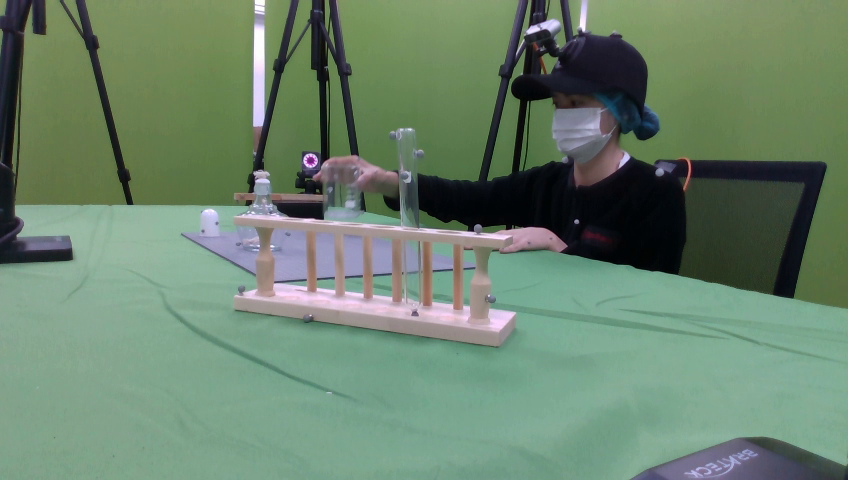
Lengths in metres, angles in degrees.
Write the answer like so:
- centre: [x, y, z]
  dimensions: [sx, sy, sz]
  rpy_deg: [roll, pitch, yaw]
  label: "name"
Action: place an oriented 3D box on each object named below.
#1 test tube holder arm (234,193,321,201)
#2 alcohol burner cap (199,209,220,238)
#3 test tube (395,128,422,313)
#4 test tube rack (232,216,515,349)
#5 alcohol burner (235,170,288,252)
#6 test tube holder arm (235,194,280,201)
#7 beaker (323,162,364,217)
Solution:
- centre: [-0.299, -0.088, 1.248]
  dimensions: [0.179, 0.015, 0.013]
  rpy_deg: [-1, 16, -30]
  label: "test tube holder arm"
- centre: [-0.356, -0.027, 1.002]
  dimensions: [0.034, 0.048, 0.034]
  rpy_deg: [2, 7, 0]
  label: "alcohol burner cap"
- centre: [-0.013, -0.015, 0.491]
  dimensions: [0.017, 0.150, 0.017]
  rpy_deg: [-2, 5, 1]
  label: "test tube"
- centre: [-0.045, 0.029, 0.526]
  dimensions: [0.241, 0.085, 0.067]
  rpy_deg: [5, 7, 19]
  label: "test tube rack"
- centre: [-0.236, -0.042, 0.882]
  dimensions: [0.078, 0.119, 0.078]
  rpy_deg: [2, 9, 0]
  label: "alcohol burner"
- centre: [-0.336, -0.086, 1.221]
  dimensions: [0.088, 0.015, 0.010]
  rpy_deg: [-1, 16, -29]
  label: "test tube holder arm"
- centre: [-0.153, -0.095, 1.126]
  dimensions: [0.073, 0.100, 0.084]
  rpy_deg: [8, 9, 41]
  label: "beaker"
